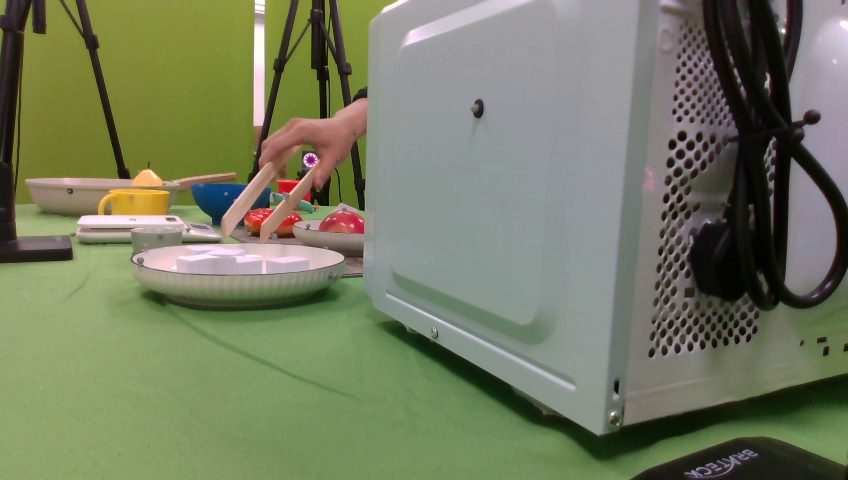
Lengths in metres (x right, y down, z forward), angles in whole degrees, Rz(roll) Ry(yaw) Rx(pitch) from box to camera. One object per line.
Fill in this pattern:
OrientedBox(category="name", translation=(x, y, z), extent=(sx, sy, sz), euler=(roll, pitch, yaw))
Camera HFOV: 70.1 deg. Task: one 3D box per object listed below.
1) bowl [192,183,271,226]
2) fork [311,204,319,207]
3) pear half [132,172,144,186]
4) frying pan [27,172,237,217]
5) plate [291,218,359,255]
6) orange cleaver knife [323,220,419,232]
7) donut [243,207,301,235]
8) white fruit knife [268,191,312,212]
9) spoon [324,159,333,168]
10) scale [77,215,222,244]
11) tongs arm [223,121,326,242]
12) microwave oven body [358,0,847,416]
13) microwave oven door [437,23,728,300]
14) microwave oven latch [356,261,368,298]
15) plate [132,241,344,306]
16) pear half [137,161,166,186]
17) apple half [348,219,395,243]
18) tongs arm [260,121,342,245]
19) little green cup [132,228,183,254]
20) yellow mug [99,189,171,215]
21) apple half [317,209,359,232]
OrientedBox(category="bowl", translation=(-0.382, -0.071, 1.202), extent=(0.151, 0.077, 0.151), euler=(3, 7, 0))
OrientedBox(category="fork", translation=(-0.356, -0.105, 1.526), extent=(0.208, 0.018, 0.028), euler=(16, -6, -41))
OrientedBox(category="pear half", translation=(-0.638, -0.113, 1.361), extent=(0.031, 0.088, 0.070), euler=(5, 11, 4))
OrientedBox(category="frying pan", translation=(-0.624, -0.118, 1.387), extent=(0.305, 0.102, 0.490), euler=(8, 17, 32))
OrientedBox(category="plate", translation=(-0.098, -0.007, 0.928), extent=(0.209, 0.038, 0.209), euler=(2, 8, 0))
OrientedBox(category="orange cleaver knife", translation=(-0.097, -0.027, 1.152), extent=(0.077, 0.012, 0.212), euler=(2, 7, 41))
OrientedBox(category="donut", translation=(-0.261, -0.032, 1.043), extent=(0.099, 0.048, 0.099), euler=(4, 9, 0))
OrientedBox(category="white fruit knife", translation=(-0.364, -0.105, 1.464), extent=(0.208, 0.027, 0.016), euler=(15, 0, -34))
OrientedBox(category="spoon", translation=(-0.317, -0.159, 1.640), extent=(0.194, 0.022, 0.041), euler=(-49, 32, -20))
OrientedBox(category="scale", translation=(-0.434, -0.019, 0.963), extent=(0.202, 0.031, 0.148), euler=(-1, 9, -27))
OrientedBox(category="tongs arm", translation=(-0.192, -0.096, 0.818), extent=(0.028, 0.028, 0.387), euler=(1, 27, 6))
OrientedBox(category="microwave oven body", translation=(0.211, -0.047, 0.475), extent=(0.444, 0.260, 0.324), euler=(-1, 7, -28))
OrientedBox(category="microwave oven door", translation=(0.181, -0.073, 0.621), extent=(0.358, 0.243, 0.039), euler=(-2, 8, -29))
OrientedBox(category="microwave oven latch", translation=(-0.019, 0.033, 0.530), extent=(0.079, 0.029, 0.030), euler=(0, 7, -26))
OrientedBox(category="plate", translation=(-0.187, 0.033, 0.625), extent=(0.208, 0.039, 0.207), euler=(2, 8, 0))
OrientedBox(category="pear half", translation=(-0.602, -0.120, 1.354), extent=(0.056, 0.110, 0.076), euler=(4, 11, 6))
OrientedBox(category="apple half", translation=(-0.083, -0.018, 0.967), extent=(0.081, 0.033, 0.081), euler=(6, 10, -1))
OrientedBox(category="tongs arm", translation=(-0.166, -0.094, 0.817), extent=(0.051, 0.026, 0.384), euler=(6, 28, 7))
OrientedBox(category="little green cup", translation=(-0.342, 0.006, 0.779), extent=(0.061, 0.038, 0.061), euler=(2, 8, 0))
OrientedBox(category="yellow mug", translation=(-0.519, -0.055, 1.080), extent=(0.099, 0.064, 0.131), euler=(7, 9, 26))
OrientedBox(category="apple half", translation=(-0.121, -0.019, 0.900), extent=(0.080, 0.053, 0.075), euler=(4, 10, 13))
